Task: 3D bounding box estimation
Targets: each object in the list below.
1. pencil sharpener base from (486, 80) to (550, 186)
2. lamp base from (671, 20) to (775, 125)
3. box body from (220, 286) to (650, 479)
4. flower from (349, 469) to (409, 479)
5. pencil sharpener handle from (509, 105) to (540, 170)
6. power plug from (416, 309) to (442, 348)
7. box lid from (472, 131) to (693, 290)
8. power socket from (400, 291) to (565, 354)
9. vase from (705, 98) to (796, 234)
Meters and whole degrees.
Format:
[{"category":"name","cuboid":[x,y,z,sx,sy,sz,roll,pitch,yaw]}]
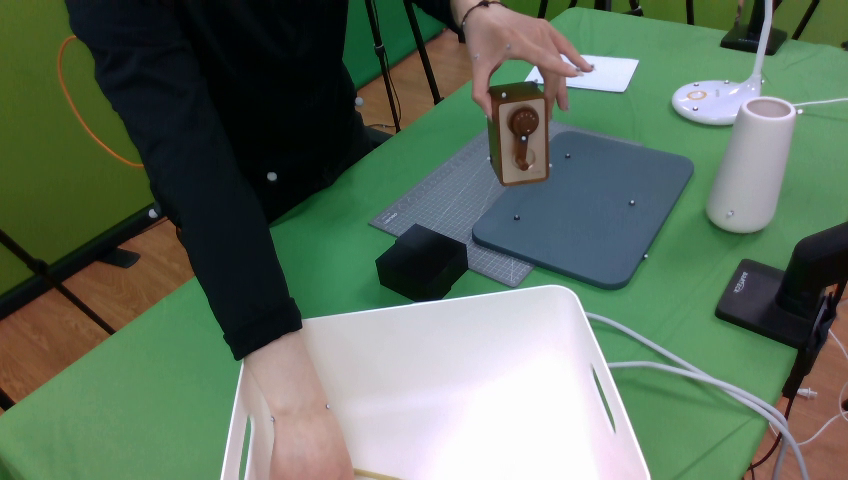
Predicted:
[{"category":"pencil sharpener base","cuboid":[0.113,-0.127,0.723,0.061,0.107,0.076,-8,29,-2]},{"category":"lamp base","cuboid":[0.581,-0.332,1.154,0.179,0.181,0.160,2,41,7]},{"category":"box body","cuboid":[0.006,0.210,0.618,0.364,0.161,0.252,-8,40,-1]},{"category":"flower","cuboid":[0.016,0.269,0.654,0.360,0.038,0.044,3,21,20]},{"category":"pencil sharpener handle","cuboid":[0.114,-0.113,0.673,0.036,0.068,0.030,-1,29,-5]},{"category":"power plug","cuboid":[0.004,0.121,0.786,0.035,0.053,0.072,4,45,8]},{"category":"box lid","cuboid":[0.273,-0.068,1.020,0.261,0.015,0.372,20,47,28]},{"category":"power socket","cuboid":[0.079,0.111,0.823,0.227,0.033,0.072,-5,41,1]},{"category":"vase","cuboid":[0.480,-0.104,0.888,0.098,0.201,0.097,-4,42,4]}]
